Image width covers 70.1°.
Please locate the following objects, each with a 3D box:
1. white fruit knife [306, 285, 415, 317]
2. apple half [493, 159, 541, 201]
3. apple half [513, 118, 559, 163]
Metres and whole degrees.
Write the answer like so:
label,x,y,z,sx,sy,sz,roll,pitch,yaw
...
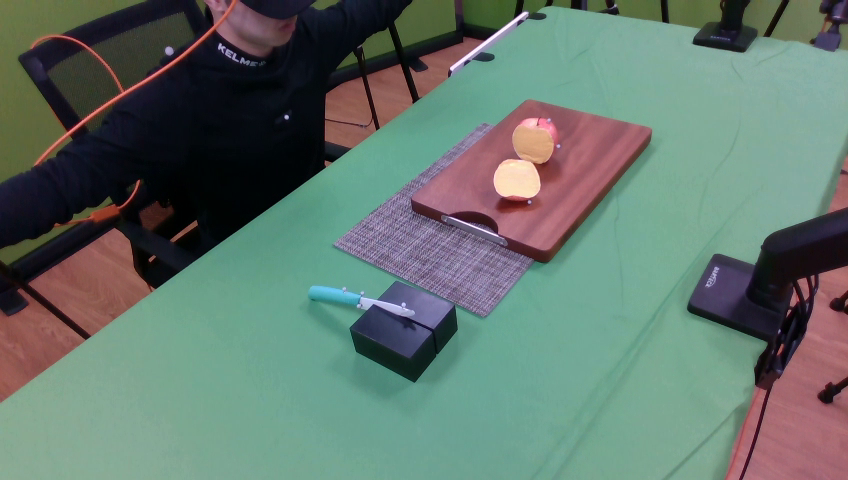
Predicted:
label,x,y,z,sx,sy,sz,roll,pitch,yaw
white fruit knife,-0.092,0.085,0.837,0.206,0.027,0.016,6,36,36
apple half,0.153,-0.095,0.999,0.081,0.033,0.081,-1,64,2
apple half,0.202,-0.180,1.066,0.080,0.075,0.053,14,41,29
